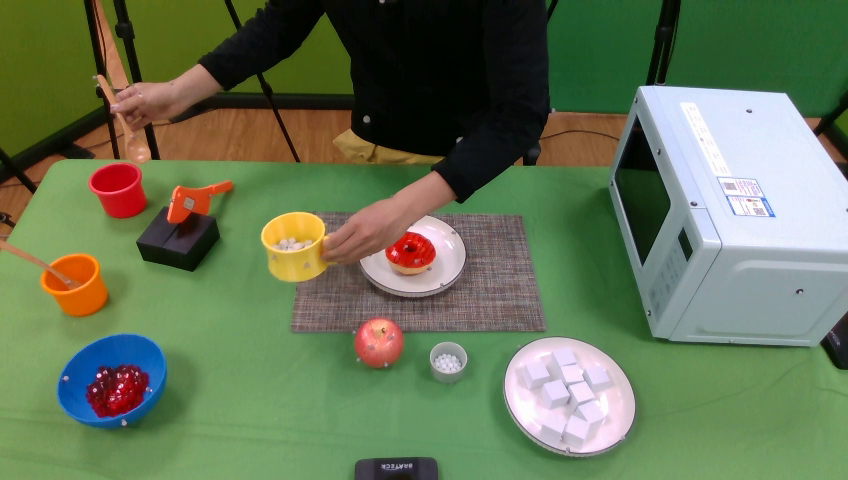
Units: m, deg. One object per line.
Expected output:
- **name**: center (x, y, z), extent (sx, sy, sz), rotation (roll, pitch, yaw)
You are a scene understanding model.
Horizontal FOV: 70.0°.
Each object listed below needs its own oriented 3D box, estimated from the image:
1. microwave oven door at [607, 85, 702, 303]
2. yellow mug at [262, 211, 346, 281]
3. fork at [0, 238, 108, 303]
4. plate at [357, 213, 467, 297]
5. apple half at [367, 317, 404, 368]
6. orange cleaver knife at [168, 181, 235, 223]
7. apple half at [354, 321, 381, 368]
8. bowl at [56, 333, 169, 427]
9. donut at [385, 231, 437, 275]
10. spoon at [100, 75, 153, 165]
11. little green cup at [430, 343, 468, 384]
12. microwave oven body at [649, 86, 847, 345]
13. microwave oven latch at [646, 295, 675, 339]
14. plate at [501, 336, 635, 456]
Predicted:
- **microwave oven door**: center (0.423, -0.094, 1.140), extent (0.039, 0.245, 0.353), rotation (2, 46, -1)
- **yellow mug**: center (-0.189, 0.010, 0.974), extent (0.131, 0.064, 0.099), rotation (6, 42, 8)
- **fork**: center (-0.633, 0.048, 1.017), extent (0.208, 0.018, 0.028), rotation (40, 41, -27)
- **plate**: center (-0.023, 0.031, 1.150), extent (0.209, 0.038, 0.208), rotation (2, 46, -2)
- **apple half**: center (-0.061, 0.167, 0.998), extent (0.053, 0.075, 0.080), rotation (-11, 44, -20)
- **orange cleaver knife**: center (-0.436, -0.078, 1.196), extent (0.012, 0.077, 0.211), rotation (15, 15, 10)
- **apple half**: center (-0.097, 0.176, 0.985), extent (0.033, 0.081, 0.080), rotation (-12, 48, -20)
- **bowl**: center (-0.456, 0.223, 0.911), extent (0.151, 0.077, 0.150), rotation (3, 46, -2)
- **donut**: center (-0.025, 0.024, 1.142), extent (0.099, 0.048, 0.098), rotation (3, 44, -3)
- **spoon**: center (-0.569, -0.229, 1.152), extent (0.041, 0.021, 0.193), rotation (-26, 91, -16)
- **little green cup**: center (0.039, 0.203, 0.993), extent (0.061, 0.039, 0.061), rotation (2, 47, -2)
- **microwave oven body**: center (0.568, -0.053, 1.118), extent (0.326, 0.261, 0.439), rotation (2, 45, -1)
- **microwave oven latch**: center (0.412, 0.134, 1.061), extent (0.030, 0.029, 0.078), rotation (4, 45, 1)
- **plate**: center (0.225, 0.249, 0.964), extent (0.208, 0.039, 0.206), rotation (2, 46, -2)
